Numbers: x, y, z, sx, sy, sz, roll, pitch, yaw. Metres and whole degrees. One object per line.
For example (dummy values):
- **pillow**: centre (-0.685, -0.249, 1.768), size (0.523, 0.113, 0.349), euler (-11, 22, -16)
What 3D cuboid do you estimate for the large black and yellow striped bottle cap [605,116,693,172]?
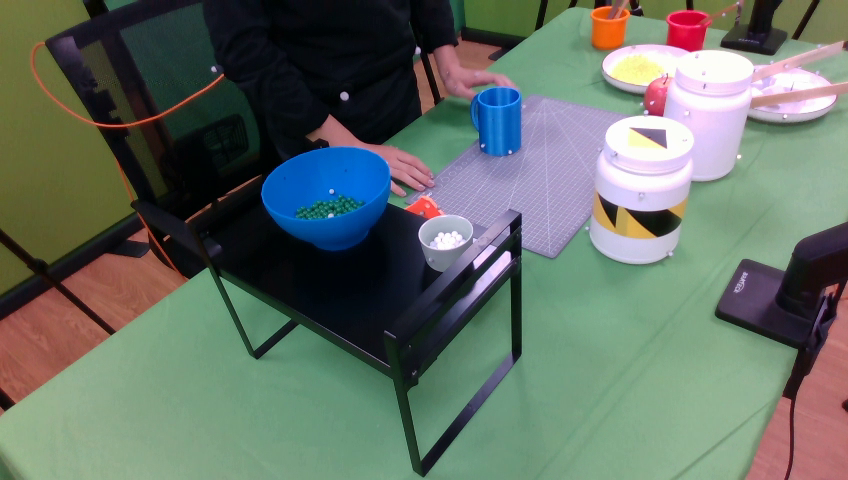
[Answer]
- **large black and yellow striped bottle cap**: centre (0.309, -0.134, 0.833), size (0.115, 0.019, 0.114), euler (-5, 40, 5)

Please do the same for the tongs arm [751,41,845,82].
- **tongs arm**: centre (0.708, -0.331, 1.193), size (0.386, 0.026, 0.050), euler (-19, 45, -16)

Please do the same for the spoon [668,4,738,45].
- **spoon**: centre (0.618, -0.478, 1.346), size (0.042, 0.193, 0.021), euler (-25, 89, -20)

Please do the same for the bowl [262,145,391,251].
- **bowl**: centre (-0.108, -0.041, 0.723), size (0.151, 0.077, 0.150), euler (-4, 40, 4)

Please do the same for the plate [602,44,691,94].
- **plate**: centre (0.495, -0.367, 1.317), size (0.209, 0.038, 0.208), euler (-4, 40, 4)

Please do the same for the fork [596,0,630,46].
- **fork**: centre (0.481, -0.556, 1.452), size (0.028, 0.019, 0.207), euler (40, 103, 40)

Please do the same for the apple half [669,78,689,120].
- **apple half**: centre (0.498, -0.273, 1.180), size (0.032, 0.082, 0.081), euler (7, 42, 25)

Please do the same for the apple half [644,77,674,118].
- **apple half**: centre (0.463, -0.279, 1.194), size (0.053, 0.075, 0.081), euler (8, 46, 24)

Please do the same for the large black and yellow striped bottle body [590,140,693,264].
- **large black and yellow striped bottle body**: centre (0.317, -0.071, 0.889), size (0.131, 0.185, 0.130), euler (-4, 41, 4)

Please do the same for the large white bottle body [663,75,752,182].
- **large white bottle body**: centre (0.472, -0.207, 1.022), size (0.130, 0.185, 0.130), euler (-4, 41, 4)

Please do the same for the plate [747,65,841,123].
- **plate**: centre (0.694, -0.282, 1.189), size (0.207, 0.039, 0.206), euler (-4, 40, 4)

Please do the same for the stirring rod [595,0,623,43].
- **stirring rod**: centre (0.460, -0.556, 1.460), size (0.014, 0.006, 0.176), euler (30, 93, 23)

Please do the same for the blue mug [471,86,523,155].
- **blue mug**: centre (0.135, -0.235, 1.163), size (0.082, 0.106, 0.115), euler (-36, 48, -29)

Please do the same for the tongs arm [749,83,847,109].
- **tongs arm**: centre (0.735, -0.280, 1.133), size (0.388, 0.028, 0.028), euler (-9, 47, -5)

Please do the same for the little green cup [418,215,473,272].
- **little green cup**: centre (0.026, 0.005, 0.678), size (0.061, 0.039, 0.061), euler (-4, 40, 4)

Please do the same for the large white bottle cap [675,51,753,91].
- **large white bottle cap**: centre (0.463, -0.271, 0.967), size (0.115, 0.018, 0.114), euler (-4, 40, 4)

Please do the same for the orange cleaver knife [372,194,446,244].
- **orange cleaver knife**: centre (-0.032, -0.026, 0.965), size (0.210, 0.077, 0.012), euler (-9, 29, 51)
